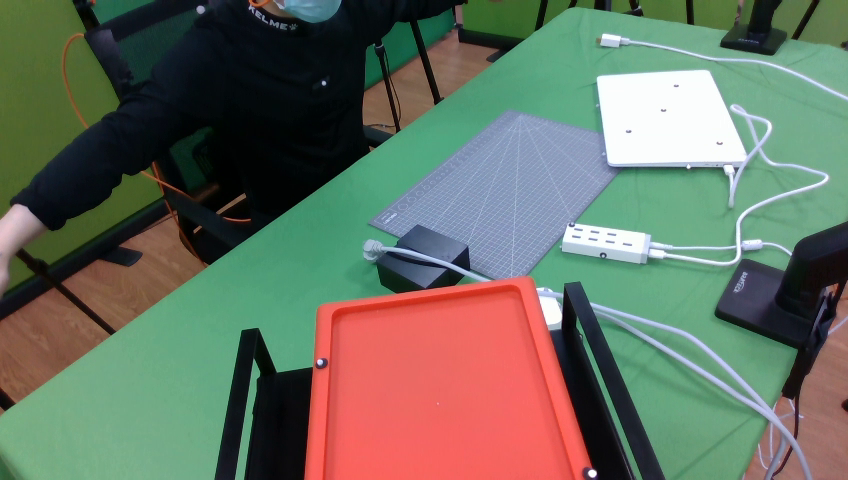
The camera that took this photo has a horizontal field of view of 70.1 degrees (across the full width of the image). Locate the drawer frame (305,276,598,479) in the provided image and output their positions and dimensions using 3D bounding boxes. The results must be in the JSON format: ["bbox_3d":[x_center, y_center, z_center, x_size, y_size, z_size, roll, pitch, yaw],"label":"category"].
[{"bbox_3d":[0.014,0.137,0.486,0.202,0.083,0.212,-8,41,-1],"label":"drawer frame"}]

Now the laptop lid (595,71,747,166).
[{"bbox_3d":[0.465,-0.248,1.181,0.241,0.013,0.355,1,41,12],"label":"laptop lid"}]

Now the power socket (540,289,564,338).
[{"bbox_3d":[0.080,0.112,0.822,0.227,0.033,0.072,-7,41,-1],"label":"power socket"}]

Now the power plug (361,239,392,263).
[{"bbox_3d":[-0.070,0.024,0.930,0.072,0.053,0.035,31,82,42],"label":"power plug"}]

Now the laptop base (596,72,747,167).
[{"bbox_3d":[0.469,-0.239,1.188,0.235,0.023,0.353,-1,40,12],"label":"laptop base"}]

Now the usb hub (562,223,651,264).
[{"bbox_3d":[0.279,0.004,0.926,0.124,0.025,0.049,10,43,19],"label":"usb hub"}]

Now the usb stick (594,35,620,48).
[{"bbox_3d":[0.443,-0.482,1.466,0.059,0.021,0.027,9,43,10],"label":"usb stick"}]

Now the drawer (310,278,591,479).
[{"bbox_3d":[0.013,0.137,0.489,0.195,0.073,0.210,-7,41,0],"label":"drawer"}]

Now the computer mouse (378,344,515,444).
[{"bbox_3d":[0.018,0.126,0.520,0.116,0.041,0.063,13,47,29],"label":"computer mouse"}]
